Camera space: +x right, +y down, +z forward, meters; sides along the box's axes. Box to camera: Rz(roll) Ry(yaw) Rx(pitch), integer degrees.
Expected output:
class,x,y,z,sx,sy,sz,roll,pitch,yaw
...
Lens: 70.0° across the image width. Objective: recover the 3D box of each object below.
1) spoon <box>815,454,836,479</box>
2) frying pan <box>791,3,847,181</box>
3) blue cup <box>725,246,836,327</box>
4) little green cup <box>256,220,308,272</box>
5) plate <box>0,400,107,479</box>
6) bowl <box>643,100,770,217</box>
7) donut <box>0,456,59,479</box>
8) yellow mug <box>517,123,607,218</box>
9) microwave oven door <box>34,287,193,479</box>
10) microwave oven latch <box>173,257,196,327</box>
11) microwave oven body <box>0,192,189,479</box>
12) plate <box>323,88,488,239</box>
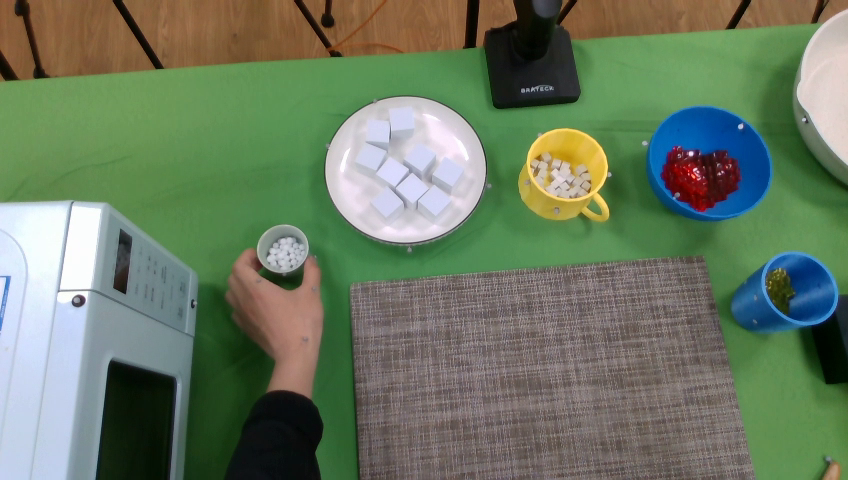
class,x,y,z,sx,sy,sz,roll,pitch,yaw
spoon,0.415,0.319,0.674,0.041,0.022,0.193,36,75,22
frying pan,0.627,-0.089,0.760,0.307,0.103,0.484,0,65,0
blue cup,0.407,0.063,0.710,0.093,0.101,0.092,1,71,-2
little green cup,-0.171,0.010,0.743,0.061,0.039,0.061,1,73,-2
plate,-0.413,0.266,0.595,0.209,0.038,0.208,1,74,-2
bowl,0.343,-0.091,0.768,0.151,0.077,0.150,0,74,-1
donut,-0.401,0.260,0.584,0.099,0.048,0.098,1,74,-4
yellow mug,0.183,-0.078,0.766,0.100,0.064,0.130,-41,79,-13
microwave oven door,-0.277,0.240,0.547,0.039,0.245,0.353,-2,73,-2
microwave oven latch,-0.284,0.061,0.707,0.030,0.029,0.078,-1,74,-2
microwave oven body,-0.425,0.204,0.559,0.326,0.261,0.439,-1,74,-2
plate,-0.023,-0.096,0.781,0.208,0.039,0.206,0,73,-1
